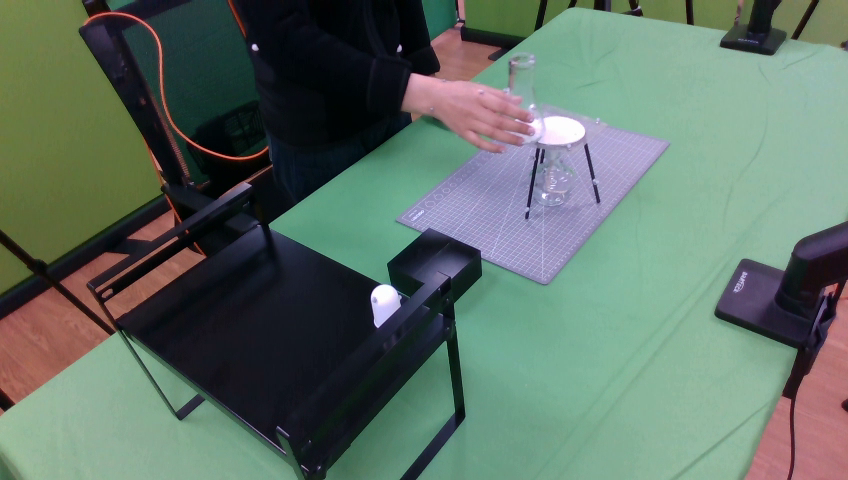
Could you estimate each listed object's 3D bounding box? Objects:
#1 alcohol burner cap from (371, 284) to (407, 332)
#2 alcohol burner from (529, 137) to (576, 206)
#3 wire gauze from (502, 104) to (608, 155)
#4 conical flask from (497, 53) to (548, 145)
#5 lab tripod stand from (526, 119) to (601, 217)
[{"bbox_3d":[-0.037,0.066,0.608,0.034,0.048,0.033,-5,40,5],"label":"alcohol burner cap"},{"bbox_3d":[0.214,-0.117,1.006,0.078,0.119,0.077,-4,38,4],"label":"alcohol burner"},{"bbox_3d":[0.207,-0.174,0.953,0.120,0.011,0.125,24,48,31],"label":"wire gauze"},{"bbox_3d":[0.142,-0.204,0.868,0.075,0.122,0.075,-4,41,4],"label":"conical flask"},{"bbox_3d":[0.220,-0.122,0.995,0.148,0.132,0.147,-3,39,3],"label":"lab tripod stand"}]
